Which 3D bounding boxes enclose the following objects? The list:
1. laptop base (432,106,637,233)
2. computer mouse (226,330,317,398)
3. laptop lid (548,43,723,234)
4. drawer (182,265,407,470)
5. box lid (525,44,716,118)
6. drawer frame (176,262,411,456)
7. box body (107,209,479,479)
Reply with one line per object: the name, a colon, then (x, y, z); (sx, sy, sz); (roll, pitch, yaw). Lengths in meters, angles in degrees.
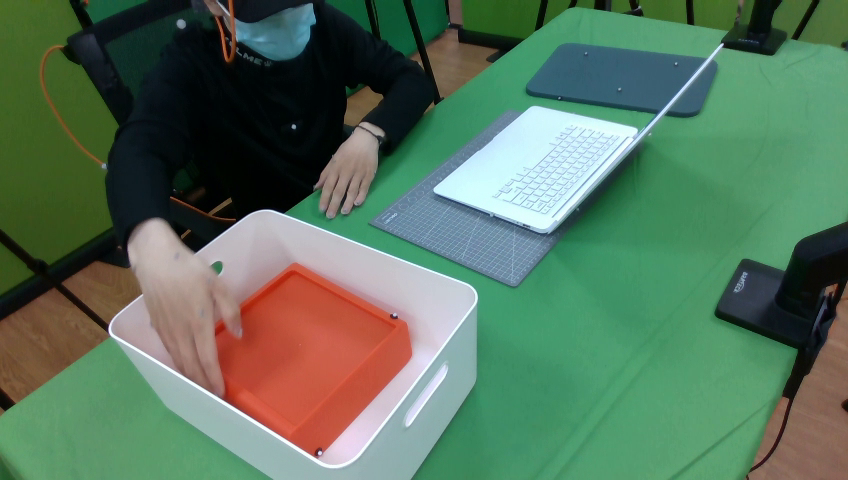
laptop base: (0.210, -0.142, 1.111); (0.233, 0.023, 0.355); (21, 48, 33)
computer mouse: (-0.203, 0.159, 0.805); (0.118, 0.041, 0.062); (-29, 40, -33)
laptop lid: (0.336, -0.160, 0.956); (0.013, 0.241, 0.358); (43, 54, 8)
drawer: (-0.161, 0.154, 0.779); (0.210, 0.073, 0.195); (26, 53, 26)
box lid: (0.432, -0.360, 1.342); (0.369, 0.015, 0.263); (16, 45, 24)
drawer frame: (-0.161, 0.145, 0.770); (0.212, 0.083, 0.202); (24, 49, 30)
box body: (-0.140, 0.136, 0.725); (0.361, 0.161, 0.254); (19, 47, 28)
